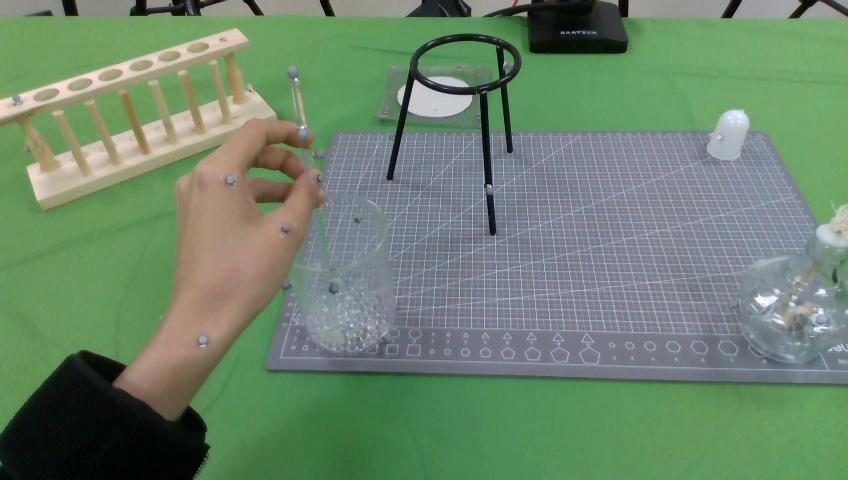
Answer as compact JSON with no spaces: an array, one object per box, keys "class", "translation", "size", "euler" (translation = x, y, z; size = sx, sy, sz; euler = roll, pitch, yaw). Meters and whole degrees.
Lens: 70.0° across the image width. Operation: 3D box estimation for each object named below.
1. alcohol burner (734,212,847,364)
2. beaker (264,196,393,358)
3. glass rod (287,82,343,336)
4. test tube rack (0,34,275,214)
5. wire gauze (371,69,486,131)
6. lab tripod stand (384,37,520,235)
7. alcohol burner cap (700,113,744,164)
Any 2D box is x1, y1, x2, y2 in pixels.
[{"class":"alcohol burner","translation":[0.257,0.029,0.408],"size":[0.078,0.120,0.077],"euler":[-1,43,1]},{"class":"beaker","translation":[-0.063,0.031,0.433],"size":[0.084,0.101,0.073],"euler":[-1,45,3]},{"class":"glass rod","translation":[-0.068,-0.007,0.391],"size":[0.008,0.201,0.008],"euler":[-2,38,2]},{"class":"test tube rack","translation":[-0.283,-0.122,0.609],"size":[0.242,0.086,0.066],"euler":[-26,50,-22]},{"class":"wire gauze","translation":[0.008,-0.164,0.694],"size":[0.125,0.011,0.120],"euler":[3,44,7]},{"class":"lab tripod stand","translation":[0.030,-0.096,0.530],"size":[0.148,0.133,0.147],"euler":[-2,46,3]},{"class":"alcohol burner cap","translation":[0.291,-0.101,0.589],"size":[0.034,0.048,0.033],"euler":[-1,45,1]}]
